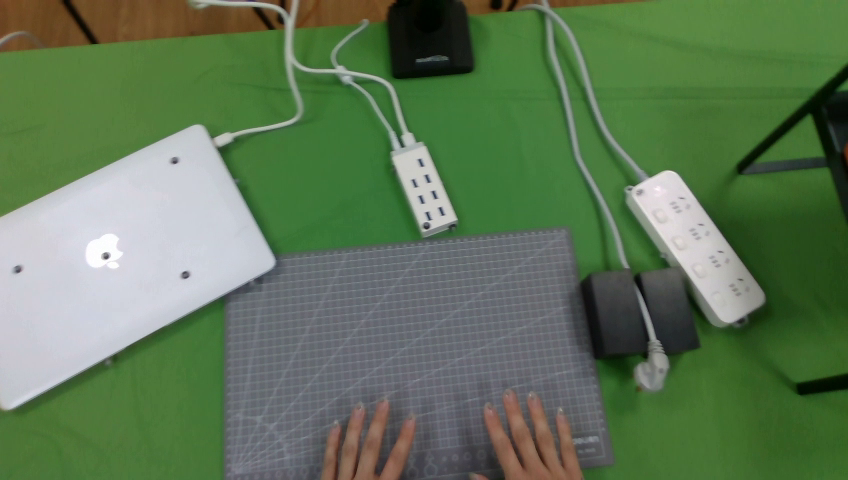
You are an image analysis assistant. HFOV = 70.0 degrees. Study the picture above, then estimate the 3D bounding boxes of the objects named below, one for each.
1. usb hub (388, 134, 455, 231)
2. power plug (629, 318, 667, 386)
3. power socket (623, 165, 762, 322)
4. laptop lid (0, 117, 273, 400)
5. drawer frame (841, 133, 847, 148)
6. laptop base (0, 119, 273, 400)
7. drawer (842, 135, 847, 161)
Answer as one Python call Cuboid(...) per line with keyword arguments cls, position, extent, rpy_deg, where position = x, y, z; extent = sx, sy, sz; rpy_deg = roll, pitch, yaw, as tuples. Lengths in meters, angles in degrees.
Cuboid(cls="usb hub", position=(-0.005, -0.077, 0.803), extent=(0.049, 0.025, 0.124), rpy_deg=(-21, 74, -7))
Cuboid(cls="power plug", position=(0.264, 0.136, 0.715), extent=(0.035, 0.053, 0.072), rpy_deg=(24, 53, -10))
Cuboid(cls="power socket", position=(0.344, 0.001, 0.782), extent=(0.072, 0.033, 0.225), rpy_deg=(-27, 74, -10))
Cuboid(cls="laptop lid", position=(-0.395, 0.011, 0.757), extent=(0.357, 0.013, 0.240), rpy_deg=(-28, 77, -9))
Cuboid(cls="drawer frame", position=(0.553, -0.036, 0.585), extent=(0.214, 0.083, 0.200), rpy_deg=(-6, 72, -4))
Cuboid(cls="laptop base", position=(-0.397, 0.013, 0.770), extent=(0.354, 0.023, 0.234), rpy_deg=(-29, 78, -10))
Cuboid(cls="drawer", position=(0.550, -0.035, 0.585), extent=(0.212, 0.073, 0.193), rpy_deg=(-5, 72, -3))
